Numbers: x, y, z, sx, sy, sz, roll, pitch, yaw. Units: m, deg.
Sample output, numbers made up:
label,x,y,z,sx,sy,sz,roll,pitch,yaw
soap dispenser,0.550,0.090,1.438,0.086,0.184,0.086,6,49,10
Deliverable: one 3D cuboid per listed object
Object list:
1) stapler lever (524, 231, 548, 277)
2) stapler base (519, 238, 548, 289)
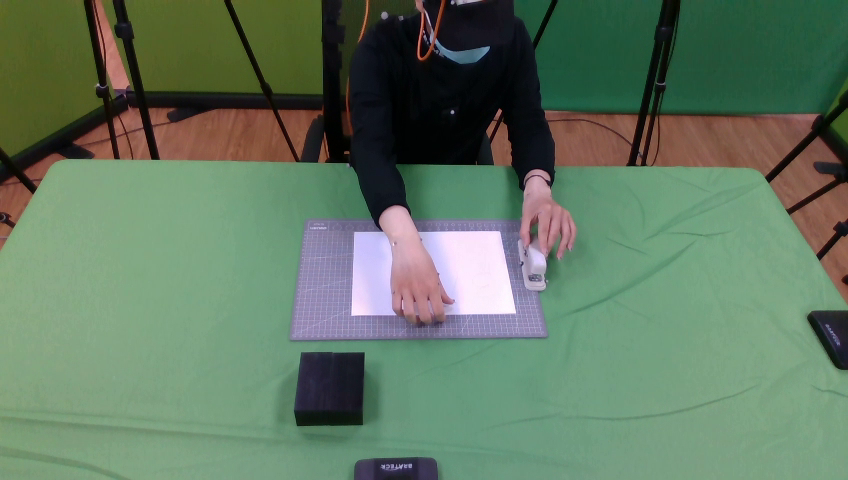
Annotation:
label,x,y,z,sx,sy,sz,roll,pitch,yaw
stapler lever,0.212,0.019,1.150,0.027,0.040,0.117,2,44,-4
stapler base,0.212,0.038,1.167,0.041,0.024,0.129,2,44,-4
